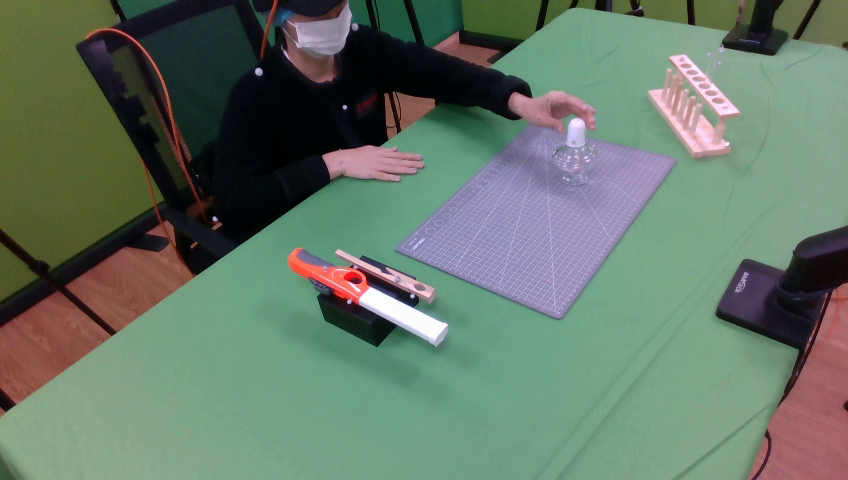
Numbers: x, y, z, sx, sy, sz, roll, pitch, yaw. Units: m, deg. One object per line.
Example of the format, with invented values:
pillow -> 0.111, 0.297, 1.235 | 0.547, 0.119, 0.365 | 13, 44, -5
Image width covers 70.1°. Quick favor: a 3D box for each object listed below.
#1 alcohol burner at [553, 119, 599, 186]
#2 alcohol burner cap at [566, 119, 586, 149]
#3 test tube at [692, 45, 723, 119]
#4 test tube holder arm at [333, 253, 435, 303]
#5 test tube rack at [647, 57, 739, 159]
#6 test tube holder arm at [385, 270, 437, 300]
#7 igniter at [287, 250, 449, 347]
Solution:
alcohol burner -> 0.261, -0.153, 1.042 | 0.078, 0.119, 0.077 | -6, 40, 6
alcohol burner cap -> 0.257, -0.180, 1.019 | 0.034, 0.048, 0.033 | -4, 37, 4
test tube -> 0.517, -0.285, 1.106 | 0.017, 0.151, 0.017 | -2, 46, 3
test tube holder arm -> -0.060, 0.052, 0.852 | 0.177, 0.015, 0.013 | 19, 50, 28
test tube rack -> 0.504, -0.257, 1.153 | 0.067, 0.085, 0.241 | -8, 40, 1
test tube holder arm -> -0.020, 0.061, 0.834 | 0.087, 0.015, 0.010 | 20, 51, 29
igniter -> -0.087, 0.073, 0.825 | 0.274, 0.025, 0.057 | 23, 48, 27
